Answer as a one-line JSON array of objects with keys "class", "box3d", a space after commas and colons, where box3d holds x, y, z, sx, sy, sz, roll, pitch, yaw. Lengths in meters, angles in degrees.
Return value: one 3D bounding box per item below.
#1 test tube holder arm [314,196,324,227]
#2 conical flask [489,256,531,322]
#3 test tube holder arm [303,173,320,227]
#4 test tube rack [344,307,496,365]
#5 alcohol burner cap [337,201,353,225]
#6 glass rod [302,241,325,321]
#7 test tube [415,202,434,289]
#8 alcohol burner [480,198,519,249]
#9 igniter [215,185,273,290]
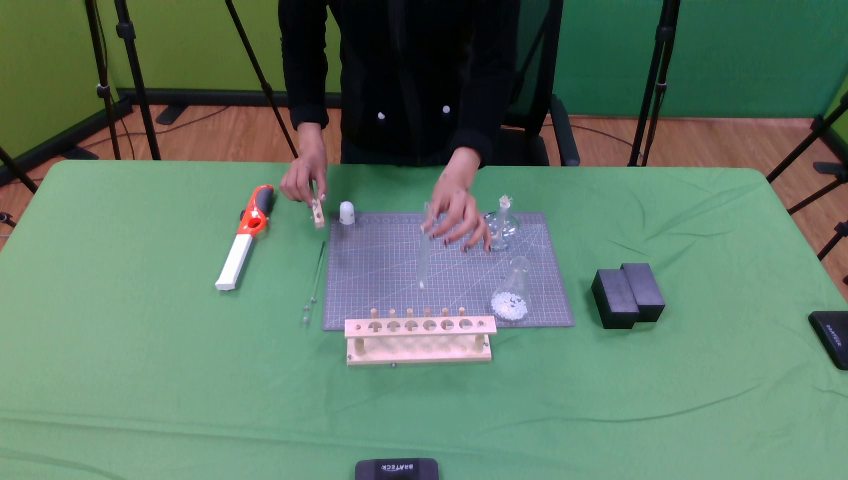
[{"class": "test tube holder arm", "box3d": [-0.202, -0.055, 1.150, 0.010, 0.015, 0.087, -2, 38, -19]}, {"class": "conical flask", "box3d": [0.158, 0.081, 1.060, 0.075, 0.122, 0.075, 2, 46, -2]}, {"class": "test tube holder arm", "box3d": [-0.220, -0.081, 1.182, 0.013, 0.015, 0.177, -3, 38, -20]}, {"class": "test tube rack", "box3d": [-0.009, 0.154, 1.007, 0.242, 0.085, 0.066, -1, 46, -5]}, {"class": "alcohol burner cap", "box3d": [-0.159, -0.056, 1.224, 0.034, 0.048, 0.033, 3, 47, -3]}, {"class": "glass rod", "box3d": [-0.204, 0.071, 1.123, 0.008, 0.008, 0.198, 4, 44, 0]}, {"class": "test tube", "box3d": [0.000, 0.011, 0.898, 0.017, 0.151, 0.017, 4, 33, -2]}, {"class": "alcohol burner", "box3d": [0.150, -0.038, 1.182, 0.078, 0.119, 0.077, 3, 47, -3]}, {"class": "igniter", "box3d": [-0.348, -0.014, 1.182, 0.057, 0.025, 0.275, -1, 45, 8]}]
